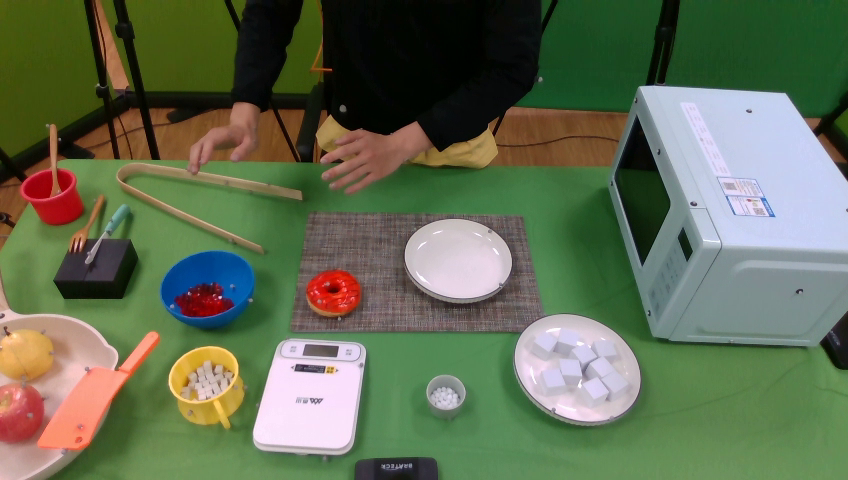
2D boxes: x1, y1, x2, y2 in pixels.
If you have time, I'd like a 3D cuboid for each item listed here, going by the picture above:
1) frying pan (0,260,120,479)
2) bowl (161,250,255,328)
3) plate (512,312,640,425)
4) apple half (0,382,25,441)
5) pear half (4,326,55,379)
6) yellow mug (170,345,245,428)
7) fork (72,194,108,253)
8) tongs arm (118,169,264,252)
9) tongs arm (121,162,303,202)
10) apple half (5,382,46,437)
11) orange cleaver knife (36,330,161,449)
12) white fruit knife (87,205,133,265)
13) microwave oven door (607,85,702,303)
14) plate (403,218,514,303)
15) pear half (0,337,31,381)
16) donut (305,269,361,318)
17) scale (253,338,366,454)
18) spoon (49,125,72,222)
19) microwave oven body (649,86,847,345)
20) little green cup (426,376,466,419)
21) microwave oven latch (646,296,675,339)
[{"bbox_3d":[-0.647,0.164,0.936,0.307,0.103,0.485,-19,58,-22],"label":"frying pan"},{"bbox_3d":[-0.362,0.097,1.039,0.151,0.077,0.150,2,45,-2],"label":"bowl"},{"bbox_3d":[0.246,0.213,0.999,0.208,0.039,0.206,2,46,-2],"label":"plate"},{"bbox_3d":[-0.605,0.250,0.871,0.053,0.075,0.080,-9,51,-7],"label":"apple half"},{"bbox_3d":[-0.609,0.159,0.933,0.076,0.110,0.056,32,52,20],"label":"pear half"},{"bbox_3d":[-0.322,0.230,0.922,0.100,0.064,0.130,-24,53,-25],"label":"yellow mug"},{"bbox_3d":[-0.634,-0.036,1.158,0.028,0.019,0.206,-8,32,-8],"label":"fork"},{"bbox_3d":[-0.473,-0.060,1.207,0.386,0.028,0.028,23,53,18],"label":"tongs arm"},{"bbox_3d":[-0.444,-0.115,1.266,0.384,0.026,0.050,13,47,7],"label":"tongs arm"},{"bbox_3d":[-0.567,0.244,0.877,0.033,0.082,0.080,-9,47,-7],"label":"apple half"},{"bbox_3d":[-0.466,0.210,0.880,0.077,0.012,0.210,15,46,9],"label":"orange cleaver knife"},{"bbox_3d":[-0.584,-0.013,1.129,0.016,0.027,0.206,0,31,-5],"label":"white fruit knife"},{"bbox_3d":[0.423,-0.094,1.140,0.039,0.245,0.353,2,46,-1],"label":"microwave oven door"},{"bbox_3d":[0.064,0.042,1.146,0.209,0.038,0.208,2,46,-2],"label":"plate"},{"bbox_3d":[-0.632,0.185,0.920,0.070,0.088,0.031,29,49,20],"label":"pear half"},{"bbox_3d":[-0.160,0.094,1.075,0.099,0.048,0.098,4,45,-3],"label":"donut"},{"bbox_3d":[-0.175,0.236,0.951,0.149,0.032,0.199,5,45,-1],"label":"scale"},{"bbox_3d":[-0.718,-0.131,1.189,0.041,0.021,0.193,-3,90,-7],"label":"spoon"},{"bbox_3d":[0.567,-0.053,1.118,0.326,0.261,0.439,2,45,-1],"label":"microwave oven body"},{"bbox_3d":[0.033,0.248,0.950,0.061,0.039,0.061,2,46,-2],"label":"little green cup"},{"bbox_3d":[0.412,0.134,1.061,0.030,0.029,0.078,4,45,1],"label":"microwave oven latch"}]
